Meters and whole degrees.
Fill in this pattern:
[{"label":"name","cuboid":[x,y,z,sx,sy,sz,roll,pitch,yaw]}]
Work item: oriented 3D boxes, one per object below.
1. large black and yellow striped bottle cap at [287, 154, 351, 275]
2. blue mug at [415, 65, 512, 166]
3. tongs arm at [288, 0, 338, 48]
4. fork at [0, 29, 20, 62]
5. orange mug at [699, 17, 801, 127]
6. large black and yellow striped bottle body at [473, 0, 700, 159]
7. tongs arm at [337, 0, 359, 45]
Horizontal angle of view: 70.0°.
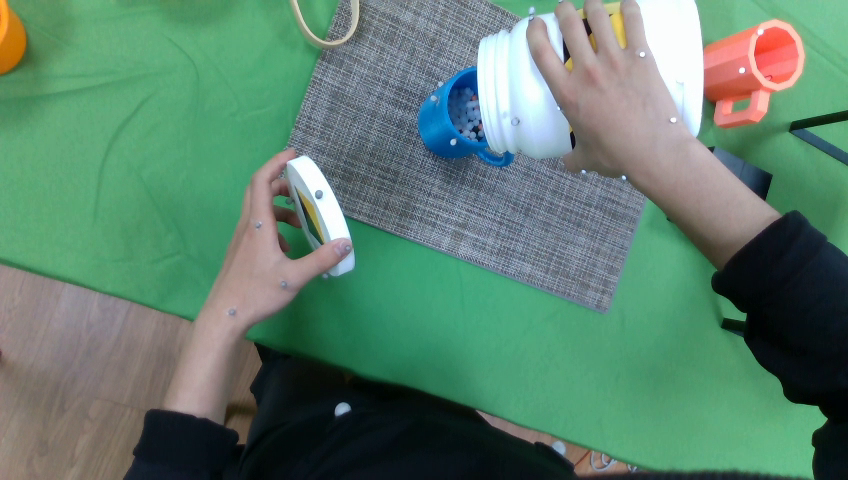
[{"label":"large black and yellow striped bottle cap","cuboid":[-0.098,-0.022,0.559,0.019,0.114,0.115,-21,97,-20]},{"label":"blue mug","cuboid":[0.053,-0.128,0.677,0.082,0.105,0.117,-45,103,-10]},{"label":"tongs arm","cuboid":[-0.169,-0.390,0.622,0.051,0.026,0.386,-20,104,-18]},{"label":"fork","cuboid":[-0.446,-0.222,0.509,0.028,0.018,0.209,-58,148,-8]},{"label":"orange mug","cuboid":[0.413,-0.213,0.786,0.084,0.100,0.126,10,85,-16]},{"label":"large black and yellow striped bottle body","cuboid":[0.147,-0.145,0.557,0.183,0.131,0.131,-3,93,17]},{"label":"tongs arm","cuboid":[-0.091,-0.410,0.647,0.028,0.027,0.388,-6,100,-24]}]
